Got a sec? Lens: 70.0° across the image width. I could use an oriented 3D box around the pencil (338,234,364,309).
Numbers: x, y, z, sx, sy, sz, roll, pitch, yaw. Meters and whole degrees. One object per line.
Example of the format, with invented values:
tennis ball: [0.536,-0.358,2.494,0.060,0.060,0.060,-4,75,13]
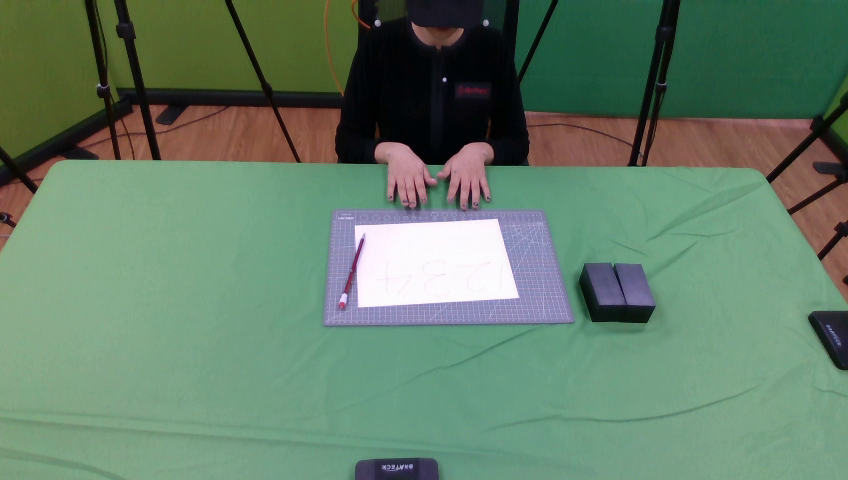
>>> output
pencil: [-0.134,0.053,1.142,0.012,0.012,0.193,8,45,4]
